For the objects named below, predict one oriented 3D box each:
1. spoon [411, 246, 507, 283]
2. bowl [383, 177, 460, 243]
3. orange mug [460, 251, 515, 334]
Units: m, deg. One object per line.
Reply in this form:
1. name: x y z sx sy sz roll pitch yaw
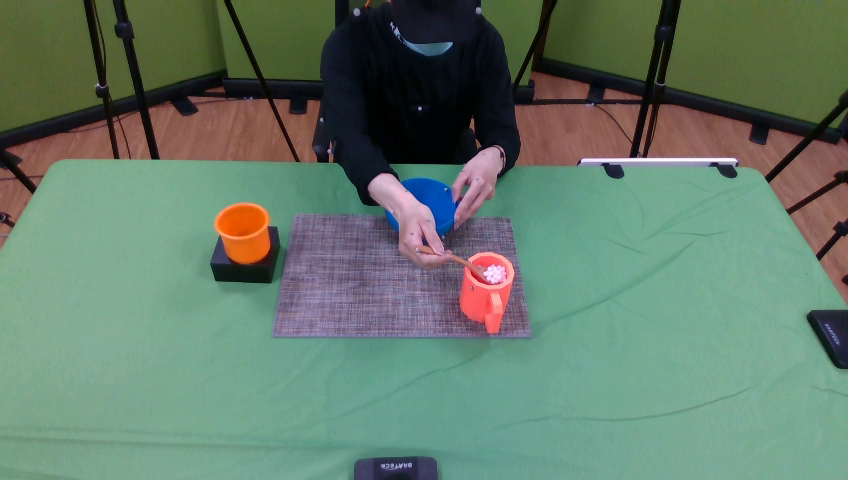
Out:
1. spoon: 0.061 0.037 1.014 0.195 0.021 0.041 23 22 -30
2. bowl: -0.006 -0.047 1.197 0.151 0.077 0.150 2 46 -2
3. orange mug: 0.113 0.095 1.053 0.083 0.101 0.125 -5 42 -8
